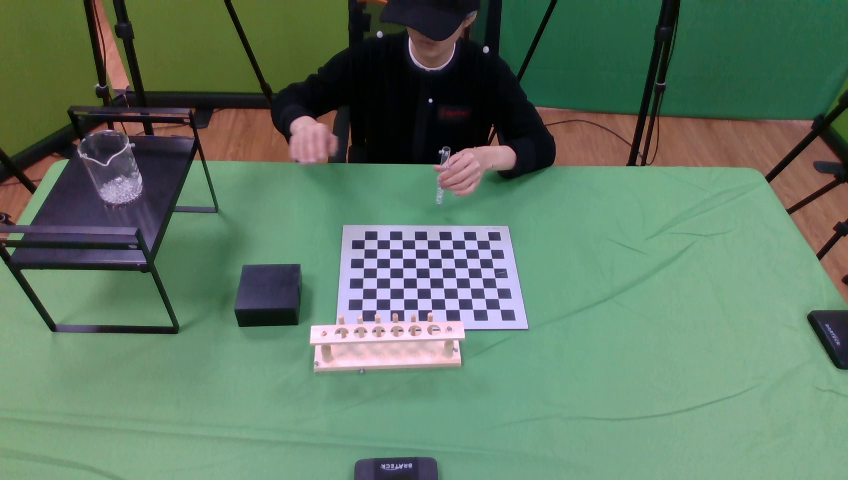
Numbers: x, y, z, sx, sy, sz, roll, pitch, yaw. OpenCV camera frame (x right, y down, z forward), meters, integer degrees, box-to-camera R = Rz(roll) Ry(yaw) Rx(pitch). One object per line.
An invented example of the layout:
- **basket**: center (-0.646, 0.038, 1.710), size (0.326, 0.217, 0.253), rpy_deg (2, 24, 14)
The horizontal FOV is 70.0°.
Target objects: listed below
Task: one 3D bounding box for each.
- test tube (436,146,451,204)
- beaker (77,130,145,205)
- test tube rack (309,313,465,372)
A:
- **test tube**: center (0.038, -0.124, 1.185), size (0.017, 0.151, 0.017), rpy_deg (3, 50, -3)
- **beaker**: center (-0.493, -0.111, 0.965), size (0.074, 0.101, 0.083), rpy_deg (-14, 49, -16)
- **test tube rack**: center (-0.059, 0.161, 0.990), size (0.242, 0.085, 0.066), rpy_deg (-1, 46, -5)
